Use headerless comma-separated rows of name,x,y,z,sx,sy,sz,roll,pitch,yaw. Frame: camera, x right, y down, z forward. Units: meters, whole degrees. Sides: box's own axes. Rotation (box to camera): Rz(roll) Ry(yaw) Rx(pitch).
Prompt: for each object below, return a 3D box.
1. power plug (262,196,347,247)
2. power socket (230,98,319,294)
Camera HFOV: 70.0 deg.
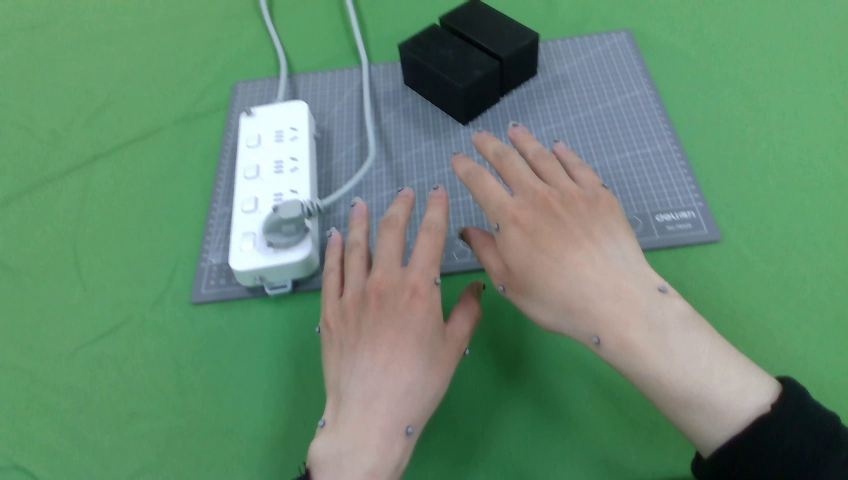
power plug,-0.100,-0.010,0.509,0.072,0.053,0.035,3,53,4
power socket,-0.137,-0.053,0.568,0.072,0.033,0.224,-9,53,0
